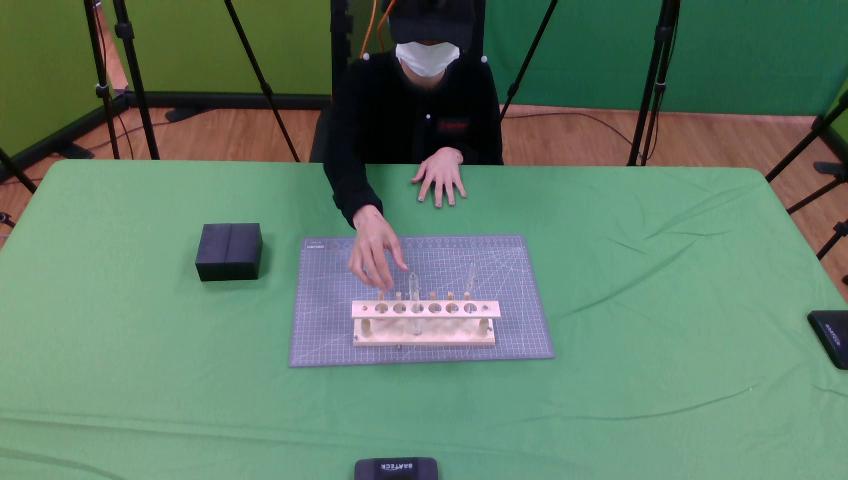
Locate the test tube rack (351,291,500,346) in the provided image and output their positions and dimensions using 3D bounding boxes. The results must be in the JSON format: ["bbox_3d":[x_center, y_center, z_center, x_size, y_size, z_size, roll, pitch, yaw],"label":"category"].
[{"bbox_3d":[0.000,0.129,1.026,0.242,0.085,0.066,1,46,-4],"label":"test tube rack"}]

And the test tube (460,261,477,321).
[{"bbox_3d":[0.073,0.087,1.010,0.017,0.151,0.017,2,47,-2],"label":"test tube"}]

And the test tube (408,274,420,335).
[{"bbox_3d":[-0.016,0.107,0.976,0.017,0.151,0.017,-1,47,1],"label":"test tube"}]
